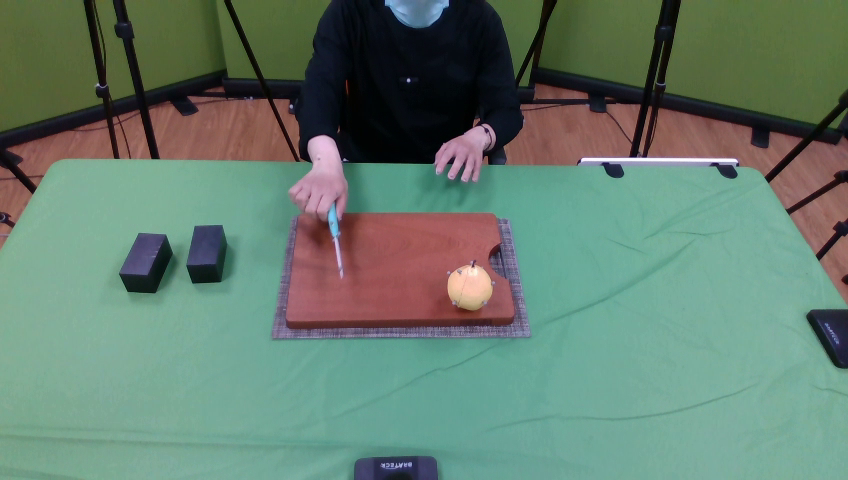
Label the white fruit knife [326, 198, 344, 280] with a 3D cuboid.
[{"bbox_3d":[-0.160,-0.007,1.098,0.016,0.027,0.206,-18,48,2],"label":"white fruit knife"}]

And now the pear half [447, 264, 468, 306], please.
[{"bbox_3d":[0.056,0.073,1.041,0.031,0.088,0.070,7,53,2],"label":"pear half"}]

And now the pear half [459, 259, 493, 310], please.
[{"bbox_3d":[0.092,0.072,1.031,0.056,0.110,0.076,7,50,3],"label":"pear half"}]
